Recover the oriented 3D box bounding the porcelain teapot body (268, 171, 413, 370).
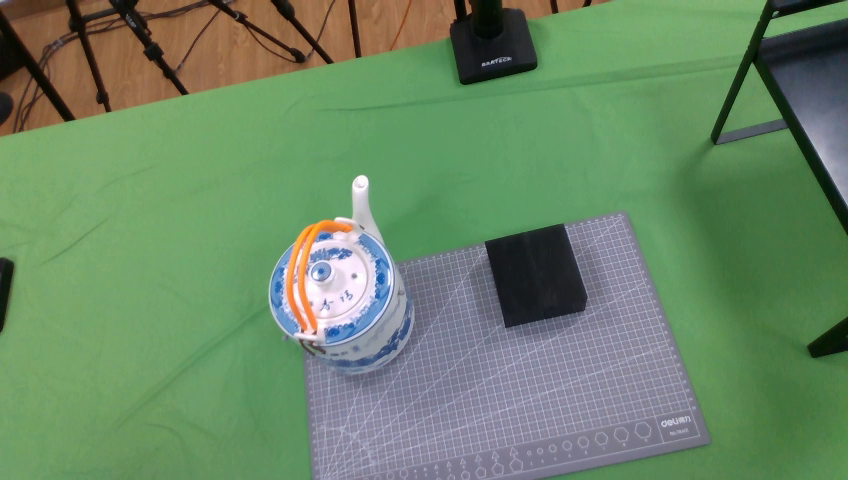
[{"bbox_3d":[-0.092,0.028,0.695,0.145,0.227,0.204,8,66,13],"label":"porcelain teapot body"}]

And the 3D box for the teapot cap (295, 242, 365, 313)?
[{"bbox_3d":[-0.106,0.037,0.650,0.085,0.044,0.084,-5,62,9],"label":"teapot cap"}]
